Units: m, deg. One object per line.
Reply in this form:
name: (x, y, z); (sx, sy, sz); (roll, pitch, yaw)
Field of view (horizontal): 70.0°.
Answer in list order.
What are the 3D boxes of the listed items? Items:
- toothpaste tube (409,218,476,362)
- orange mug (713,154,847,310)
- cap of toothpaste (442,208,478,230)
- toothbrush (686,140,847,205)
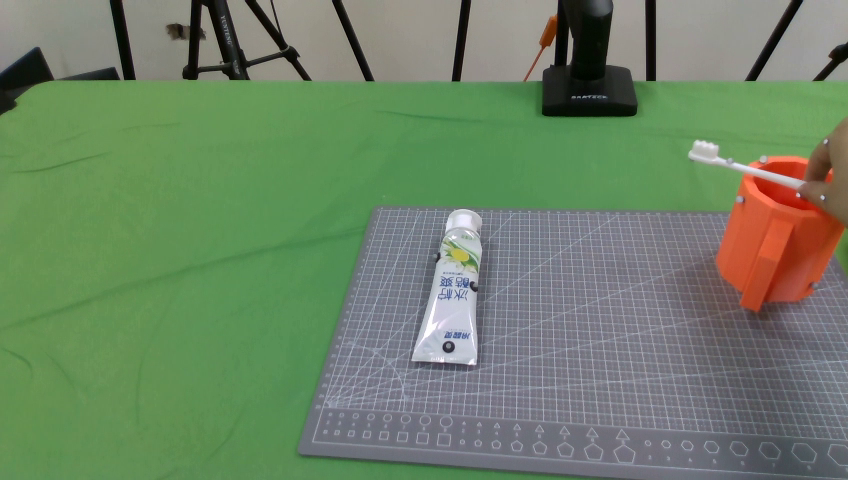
toothpaste tube: (0.024, 0.038, 0.549); (0.055, 0.035, 0.163); (-2, 45, 11)
orange mug: (0.297, -0.002, 0.512); (0.083, 0.102, 0.126); (22, 44, 28)
cap of toothpaste: (0.036, -0.017, 0.601); (0.037, 0.038, 0.011); (4, 48, 10)
toothbrush: (0.299, -0.046, 0.480); (0.180, 0.017, 0.014); (26, 39, 29)
